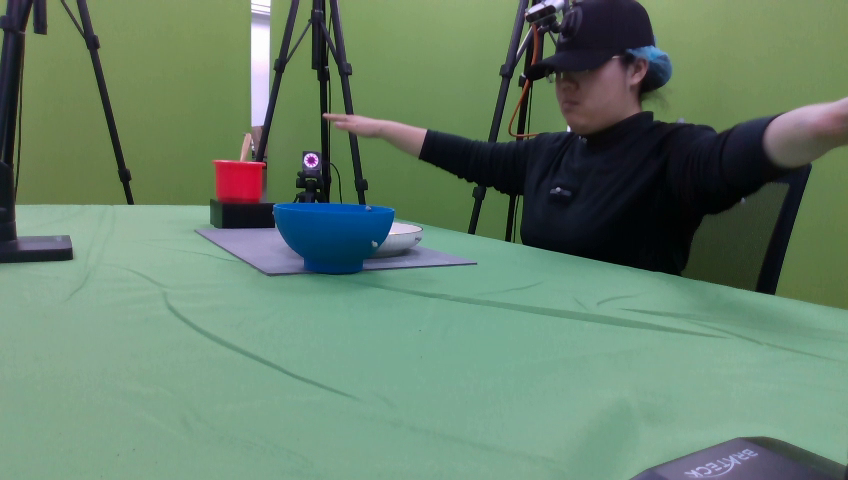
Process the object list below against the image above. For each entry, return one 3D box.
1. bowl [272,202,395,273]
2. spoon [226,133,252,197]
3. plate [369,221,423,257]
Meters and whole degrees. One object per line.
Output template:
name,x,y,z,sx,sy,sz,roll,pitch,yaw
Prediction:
bowl,-0.112,-0.003,0.751,0.151,0.077,0.151,3,7,0
spoon,-0.356,-0.150,1.189,0.042,0.021,0.193,0,51,-3
plate,-0.105,-0.004,0.922,0.208,0.039,0.207,3,7,0
